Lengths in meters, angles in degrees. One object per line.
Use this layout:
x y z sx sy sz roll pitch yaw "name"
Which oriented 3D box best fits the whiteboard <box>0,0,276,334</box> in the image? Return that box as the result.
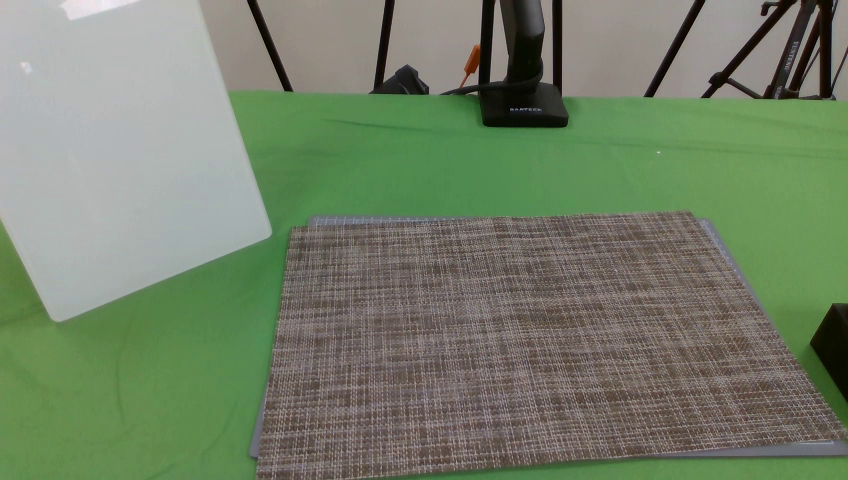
-0.310 -0.107 0.588 0.217 0.307 0.142 -25 26 -28 "whiteboard"
